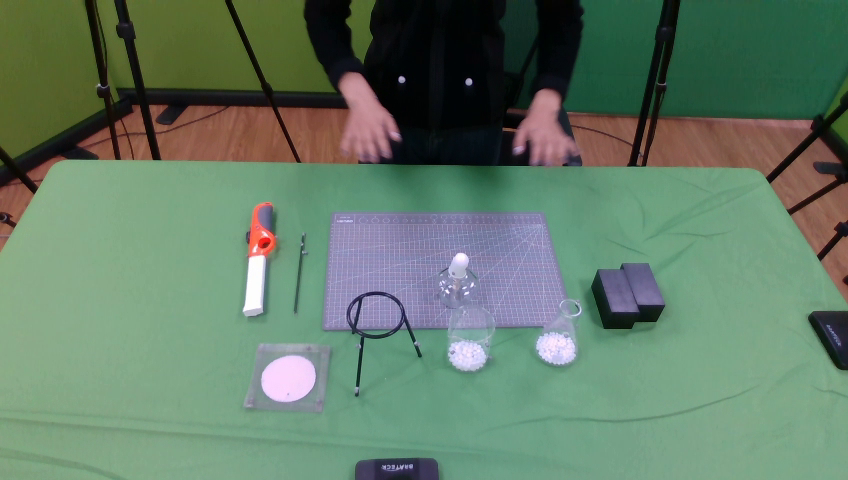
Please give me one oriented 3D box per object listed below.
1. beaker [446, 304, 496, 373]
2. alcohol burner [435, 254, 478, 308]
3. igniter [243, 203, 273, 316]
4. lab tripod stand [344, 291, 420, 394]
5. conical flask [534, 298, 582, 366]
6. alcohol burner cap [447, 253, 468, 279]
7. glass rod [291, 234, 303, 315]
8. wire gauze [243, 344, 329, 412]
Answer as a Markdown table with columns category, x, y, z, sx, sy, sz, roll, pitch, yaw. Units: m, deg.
| category | x | y | z | sx | sy | sz | roll | pitch | yaw |
| --- | --- | --- | --- | --- | --- | --- | --- | --- | --- |
| beaker | 0.072 | 0.166 | 0.992 | 0.084 | 0.101 | 0.073 | -21 | 51 | -22 |
| alcohol burner | 0.058 | 0.066 | 1.073 | 0.078 | 0.120 | 0.077 | 1 | 48 | -1 |
| igniter | -0.315 | 0.027 | 1.145 | 0.057 | 0.025 | 0.274 | -10 | 47 | 0 |
| lab tripod stand | -0.075 | 0.155 | 0.967 | 0.148 | 0.132 | 0.147 | 3 | 44 | -3 |
| conical flask | 0.229 | 0.149 | 1.005 | 0.075 | 0.122 | 0.075 | 2 | 46 | -2 |
| alcohol burner cap | 0.060 | 0.043 | 1.046 | 0.034 | 0.048 | 0.033 | 5 | 50 | -6 |
| glass rod | -0.237 | 0.059 | 1.133 | 0.008 | 0.008 | 0.198 | -1 | 46 | -4 |
| wire gauze | -0.221 | 0.219 | 0.981 | 0.125 | 0.011 | 0.120 | 2 | 45 | 0 |
